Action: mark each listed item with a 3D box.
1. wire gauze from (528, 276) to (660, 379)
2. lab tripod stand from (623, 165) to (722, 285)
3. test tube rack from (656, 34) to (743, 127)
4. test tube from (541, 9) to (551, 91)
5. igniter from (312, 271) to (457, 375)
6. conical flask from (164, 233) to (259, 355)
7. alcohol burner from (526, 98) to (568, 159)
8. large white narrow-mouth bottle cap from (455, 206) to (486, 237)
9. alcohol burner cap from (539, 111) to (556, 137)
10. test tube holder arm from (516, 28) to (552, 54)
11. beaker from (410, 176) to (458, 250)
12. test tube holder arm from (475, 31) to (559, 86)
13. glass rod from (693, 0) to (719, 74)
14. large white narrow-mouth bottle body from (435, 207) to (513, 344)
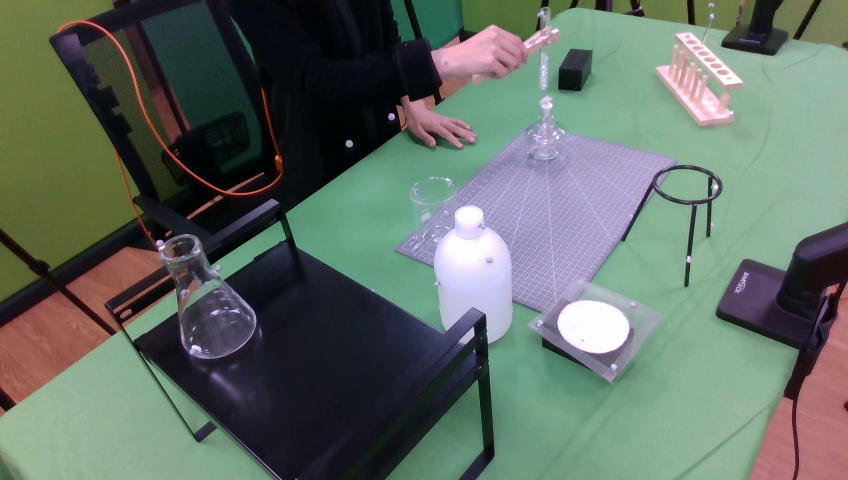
[{"bbox_3d":[0.214,0.103,0.763,0.124,0.011,0.122,30,52,35],"label":"wire gauze"},{"bbox_3d":[0.365,-0.030,0.874,0.148,0.132,0.147,-6,41,6],"label":"lab tripod stand"},{"bbox_3d":[0.553,-0.331,1.233,0.067,0.085,0.241,-7,40,2],"label":"test tube rack"},{"bbox_3d":[0.204,-0.314,1.012,0.017,0.151,0.017,-5,50,6],"label":"test tube"},{"bbox_3d":[-0.068,0.111,0.859,0.274,0.025,0.057,27,61,34],"label":"igniter"},{"bbox_3d":[-0.216,0.051,0.601,0.075,0.122,0.075,-4,40,4],"label":"conical flask"},{"bbox_3d":[0.228,-0.210,1.118,0.078,0.119,0.077,-5,43,5],"label":"alcohol burner"},{"bbox_3d":[0.057,-0.023,0.734,0.038,0.024,0.037,-4,40,4],"label":"large white narrow-mouth bottle cap"},{"bbox_3d":[0.243,-0.232,1.196,0.034,0.048,0.033,-5,38,4],"label":"alcohol burner cap"},{"bbox_3d":[0.180,-0.320,0.987,0.010,0.015,0.088,29,58,34],"label":"test tube holder arm"},{"bbox_3d":[0.022,-0.041,0.963,0.073,0.101,0.084,28,51,35],"label":"beaker"},{"bbox_3d":[0.151,-0.292,0.966,0.179,0.015,0.013,-35,48,-21],"label":"test tube holder arm"},{"bbox_3d":[0.560,-0.401,1.214,0.008,0.200,0.008,-1,48,2],"label":"glass rod"},{"bbox_3d":[0.065,0.041,0.791,0.102,0.195,0.101,-4,41,4],"label":"large white narrow-mouth bottle body"}]
